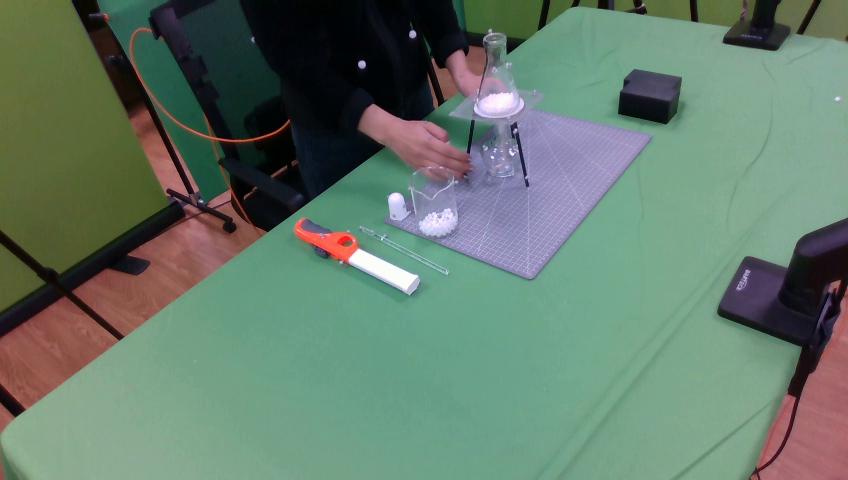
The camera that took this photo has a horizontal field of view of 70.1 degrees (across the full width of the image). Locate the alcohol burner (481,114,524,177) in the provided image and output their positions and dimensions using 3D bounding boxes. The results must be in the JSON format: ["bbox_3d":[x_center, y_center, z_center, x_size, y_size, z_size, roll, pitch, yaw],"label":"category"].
[{"bbox_3d":[0.141,-0.174,1.087,0.078,0.119,0.077,-4,40,4],"label":"alcohol burner"}]

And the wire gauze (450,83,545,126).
[{"bbox_3d":[0.126,-0.232,1.041,0.120,0.011,0.125,17,48,31],"label":"wire gauze"}]

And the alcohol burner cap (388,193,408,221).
[{"bbox_3d":[-0.047,-0.059,1.043,0.034,0.048,0.033,-5,41,5],"label":"alcohol burner cap"}]

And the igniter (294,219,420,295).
[{"bbox_3d":[-0.118,0.022,0.977,0.274,0.025,0.057,24,60,34],"label":"igniter"}]

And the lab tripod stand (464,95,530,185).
[{"bbox_3d":[0.138,-0.182,1.082,0.148,0.132,0.147,-6,38,6],"label":"lab tripod stand"}]

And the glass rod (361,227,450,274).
[{"bbox_3d":[-0.034,0.014,0.984,0.198,0.008,0.008,26,52,35],"label":"glass rod"}]

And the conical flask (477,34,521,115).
[{"bbox_3d":[0.121,-0.275,0.999,0.075,0.122,0.075,-5,40,5],"label":"conical flask"}]

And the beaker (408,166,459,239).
[{"bbox_3d":[0.018,-0.058,0.984,0.074,0.101,0.083,-6,41,6],"label":"beaker"}]
